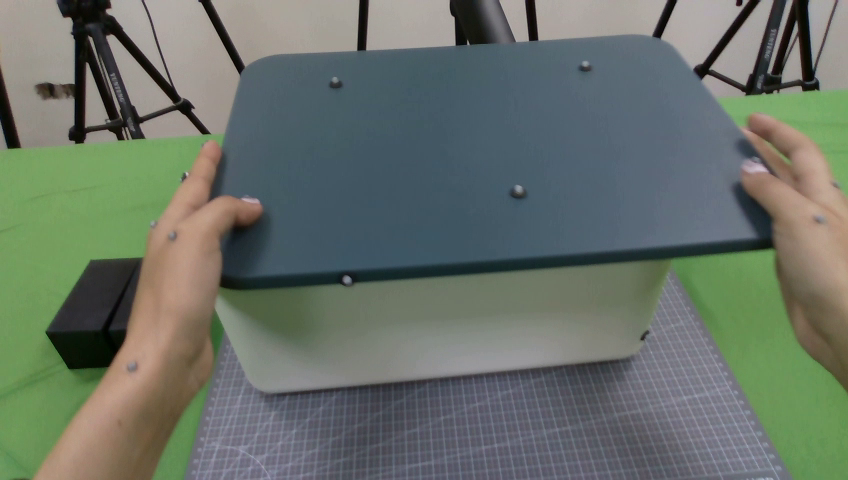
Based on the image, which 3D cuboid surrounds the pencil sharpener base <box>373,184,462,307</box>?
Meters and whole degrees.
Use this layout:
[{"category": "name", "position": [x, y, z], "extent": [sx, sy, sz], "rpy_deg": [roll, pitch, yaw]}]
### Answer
[{"category": "pencil sharpener base", "position": [-0.005, 0.007, 0.575], "extent": [0.077, 0.108, 0.061], "rpy_deg": [-4, 39, 0]}]

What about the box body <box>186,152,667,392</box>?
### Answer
[{"category": "box body", "position": [0.008, -0.012, 0.565], "extent": [0.364, 0.162, 0.251], "rpy_deg": [-5, 39, -2]}]

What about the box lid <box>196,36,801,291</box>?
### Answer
[{"category": "box lid", "position": [0.039, -0.075, 0.439], "extent": [0.372, 0.015, 0.260], "rpy_deg": [-4, 45, -3]}]

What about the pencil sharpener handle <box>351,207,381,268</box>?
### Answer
[{"category": "pencil sharpener handle", "position": [-0.057, 0.001, 0.567], "extent": [0.030, 0.068, 0.035], "rpy_deg": [-4, 42, 0]}]
